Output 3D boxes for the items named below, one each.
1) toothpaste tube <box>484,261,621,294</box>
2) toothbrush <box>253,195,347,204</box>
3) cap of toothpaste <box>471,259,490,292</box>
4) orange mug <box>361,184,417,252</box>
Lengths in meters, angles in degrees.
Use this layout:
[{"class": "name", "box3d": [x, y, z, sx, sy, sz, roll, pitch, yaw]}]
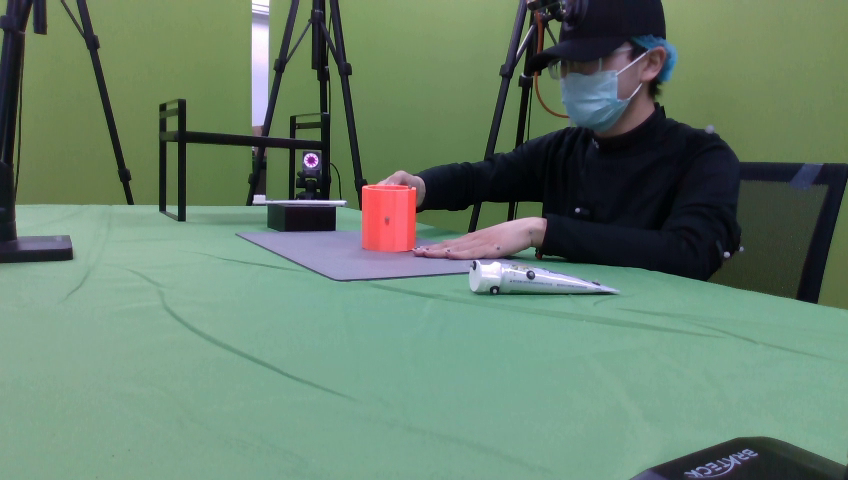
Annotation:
[{"class": "toothpaste tube", "box3d": [0.136, 0.045, 0.674, 0.166, 0.034, 0.055, 4, 10, -18]}, {"class": "toothbrush", "box3d": [-0.234, -0.076, 1.154, 0.183, 0.016, 0.014, -1, 4, -27]}, {"class": "cap of toothpaste", "box3d": [0.061, 0.038, 0.651, 0.011, 0.037, 0.037, 4, 7, -18]}, {"class": "orange mug", "box3d": [-0.054, -0.041, 0.960, 0.083, 0.101, 0.126, 1, 15, 0]}]
